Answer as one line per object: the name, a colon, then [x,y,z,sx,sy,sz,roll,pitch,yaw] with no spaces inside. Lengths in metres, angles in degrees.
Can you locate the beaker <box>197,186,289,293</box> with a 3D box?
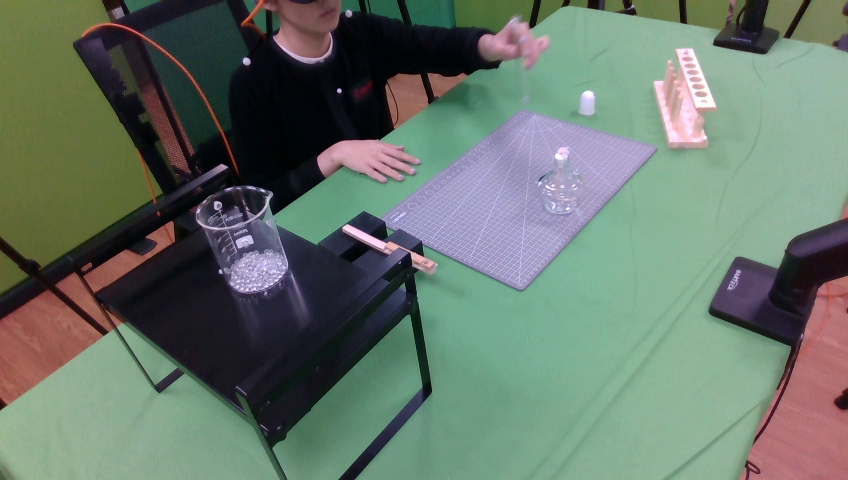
beaker: [-0.192,0.001,0.666,0.084,0.101,0.073,-33,47,-27]

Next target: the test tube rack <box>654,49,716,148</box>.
test tube rack: [0.502,-0.281,1.176,0.066,0.085,0.241,1,41,11]

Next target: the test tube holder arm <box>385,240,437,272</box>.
test tube holder arm: [-0.020,0.022,0.872,0.087,0.010,0.015,26,57,31]

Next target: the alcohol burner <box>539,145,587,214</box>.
alcohol burner: [0.226,-0.102,0.986,0.078,0.119,0.077,-6,41,6]

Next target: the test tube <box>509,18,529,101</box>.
test tube: [0.166,-0.309,1.045,0.017,0.151,0.017,-10,39,9]

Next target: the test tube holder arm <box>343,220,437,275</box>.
test tube holder arm: [-0.054,0.009,0.899,0.177,0.013,0.015,26,58,30]

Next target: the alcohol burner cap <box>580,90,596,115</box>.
alcohol burner cap: [0.338,-0.283,1.238,0.034,0.048,0.033,-4,41,4]
